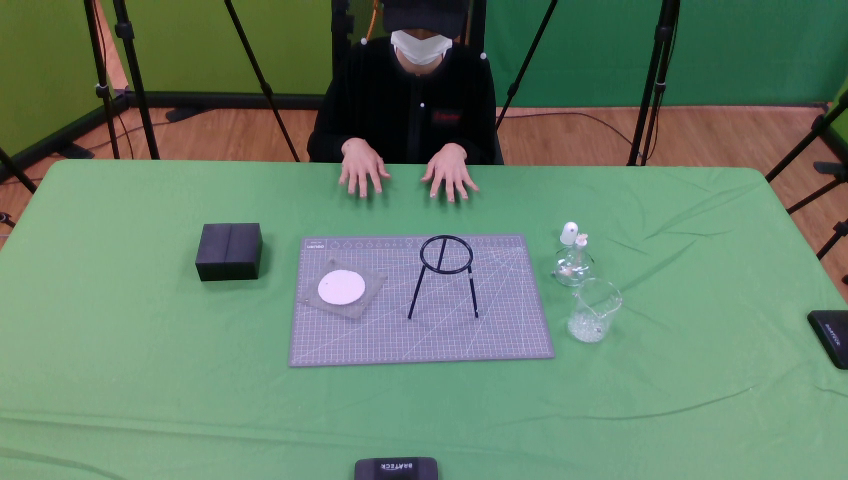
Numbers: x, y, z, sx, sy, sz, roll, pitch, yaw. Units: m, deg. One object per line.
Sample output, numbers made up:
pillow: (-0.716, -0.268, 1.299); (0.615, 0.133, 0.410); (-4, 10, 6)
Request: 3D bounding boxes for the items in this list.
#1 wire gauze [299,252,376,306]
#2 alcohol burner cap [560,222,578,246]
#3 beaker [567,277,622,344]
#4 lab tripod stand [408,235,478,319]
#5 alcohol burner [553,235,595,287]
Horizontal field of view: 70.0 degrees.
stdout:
wire gauze: (-0.155, 0.069, 1.104); (0.125, 0.011, 0.120); (0, 48, 4)
alcohol burner cap: (0.295, -0.015, 1.223); (0.034, 0.048, 0.033); (2, 47, -2)
beaker: (0.291, 0.127, 1.045); (0.074, 0.101, 0.083); (7, 46, 4)
lab tripod stand: (0.032, 0.065, 1.057); (0.148, 0.132, 0.147); (1, 45, -1)
alcohol burner: (0.282, 0.032, 1.127); (0.078, 0.120, 0.077); (1, 48, -1)
